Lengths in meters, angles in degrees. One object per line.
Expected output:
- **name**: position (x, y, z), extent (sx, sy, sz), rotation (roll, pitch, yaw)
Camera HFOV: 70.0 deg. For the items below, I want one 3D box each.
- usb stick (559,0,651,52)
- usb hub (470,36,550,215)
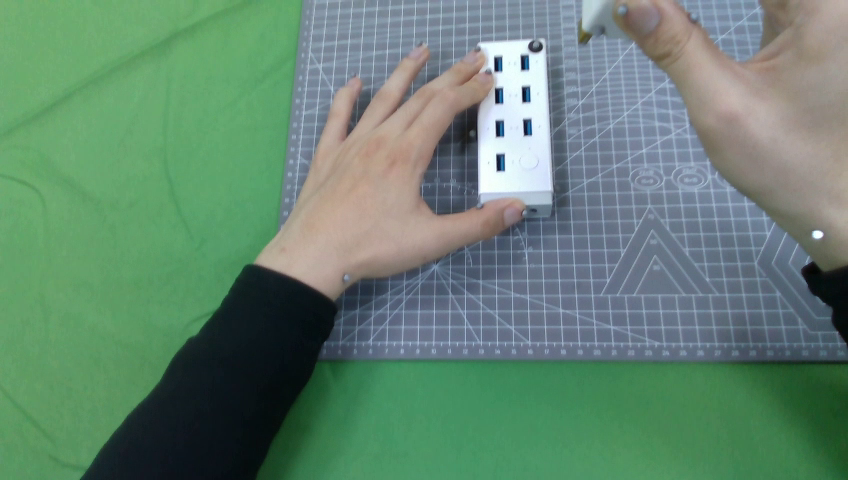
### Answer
- **usb stick**: position (0.083, -0.110, 0.249), extent (0.027, 0.059, 0.021), rotation (-4, 45, -41)
- **usb hub**: position (0.058, -0.079, 0.414), extent (0.049, 0.025, 0.124), rotation (-2, 72, 5)
